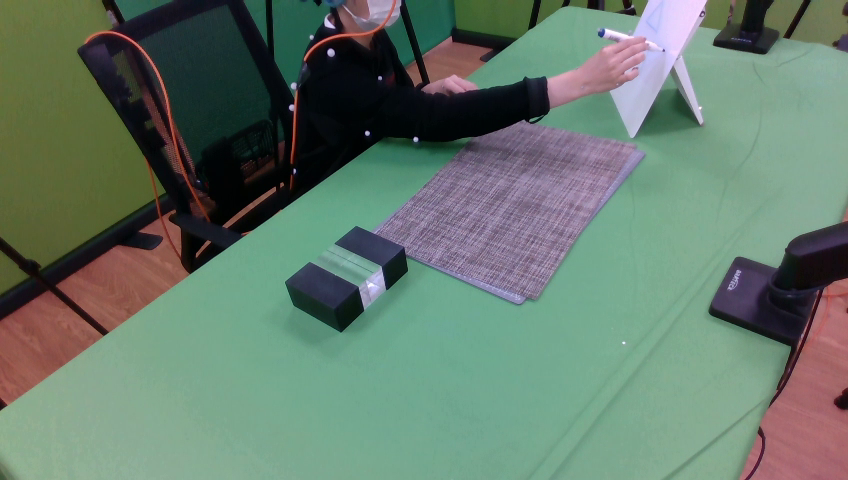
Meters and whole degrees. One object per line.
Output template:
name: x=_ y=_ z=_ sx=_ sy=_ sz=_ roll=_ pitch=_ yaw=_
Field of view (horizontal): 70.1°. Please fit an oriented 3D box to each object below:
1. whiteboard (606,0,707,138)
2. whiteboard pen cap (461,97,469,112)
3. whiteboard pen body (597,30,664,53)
whiteboard: x=0.496 y=-0.358 z=1.147 sx=0.144 sy=0.305 sz=0.216 roll=11 pitch=40 yaw=-7
whiteboard pen cap: x=0.086 y=-0.287 z=1.285 sx=0.018 sy=0.018 sz=0.033 roll=-3 pitch=48 yaw=5
whiteboard pen body: x=0.366 y=-0.346 z=1.062 sx=0.141 sy=0.017 sz=0.017 roll=7 pitch=37 yaw=-20
